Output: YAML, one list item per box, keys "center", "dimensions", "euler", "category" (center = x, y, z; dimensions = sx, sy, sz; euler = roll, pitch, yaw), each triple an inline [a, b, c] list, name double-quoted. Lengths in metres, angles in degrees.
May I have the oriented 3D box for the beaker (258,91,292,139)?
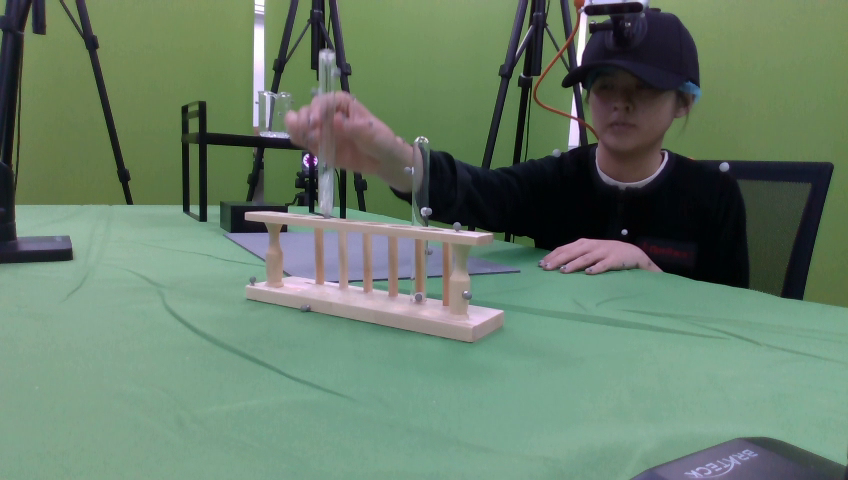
- center: [-0.331, -0.276, 1.343]
  dimensions: [0.074, 0.100, 0.083]
  euler: [0, 8, -20]
  category: "beaker"

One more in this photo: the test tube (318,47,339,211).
- center: [-0.088, -0.101, 0.555]
  dimensions: [0.017, 0.150, 0.017]
  euler: [2, -1, 0]
  category: "test tube"

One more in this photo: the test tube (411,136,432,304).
- center: [-0.002, -0.016, 0.538]
  dimensions: [0.017, 0.150, 0.017]
  euler: [2, 7, 0]
  category: "test tube"

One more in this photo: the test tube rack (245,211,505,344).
- center: [-0.049, 0.025, 0.547]
  dimensions: [0.241, 0.085, 0.067]
  euler: [7, 8, 28]
  category: "test tube rack"
